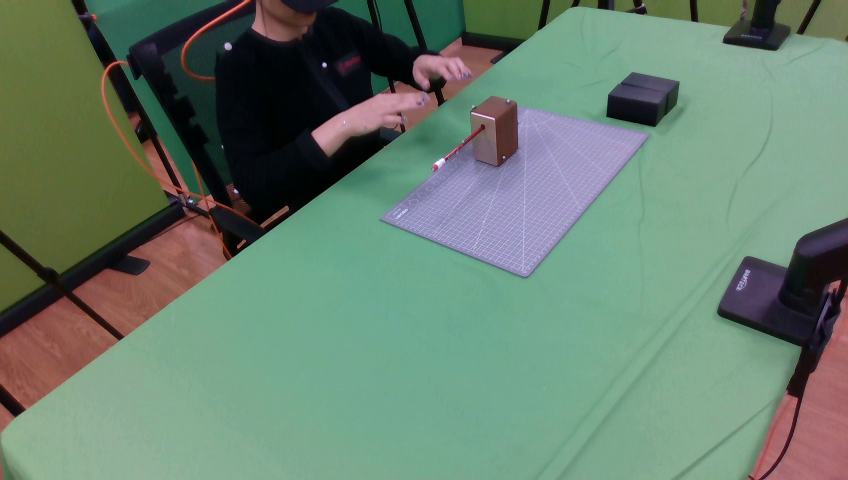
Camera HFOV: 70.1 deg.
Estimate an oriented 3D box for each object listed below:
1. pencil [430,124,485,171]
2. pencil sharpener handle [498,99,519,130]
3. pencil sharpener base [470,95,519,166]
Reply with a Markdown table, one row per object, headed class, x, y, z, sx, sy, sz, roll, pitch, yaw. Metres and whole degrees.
| class | x | y | z | sx | sy | sz | roll | pitch | yaw |
| --- | --- | --- | --- | --- | --- | --- | --- | --- | --- |
| pencil | 0.075 | -0.175 | 1.066 | 0.012 | 0.012 | 0.194 | 25 | 52 | 33 |
| pencil sharpener handle | 0.165 | -0.243 | 1.148 | 0.035 | 0.068 | 0.031 | 21 | 48 | 36 |
| pencil sharpener base | 0.134 | -0.205 | 1.128 | 0.061 | 0.107 | 0.077 | 23 | 50 | 33 |
